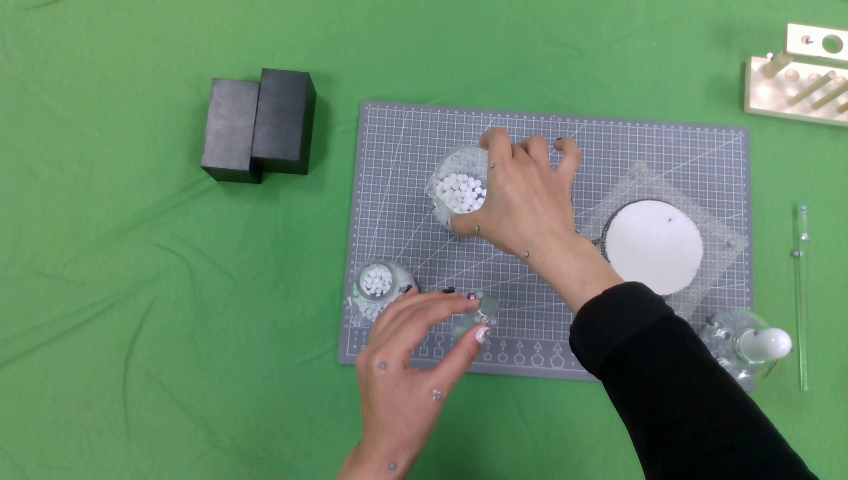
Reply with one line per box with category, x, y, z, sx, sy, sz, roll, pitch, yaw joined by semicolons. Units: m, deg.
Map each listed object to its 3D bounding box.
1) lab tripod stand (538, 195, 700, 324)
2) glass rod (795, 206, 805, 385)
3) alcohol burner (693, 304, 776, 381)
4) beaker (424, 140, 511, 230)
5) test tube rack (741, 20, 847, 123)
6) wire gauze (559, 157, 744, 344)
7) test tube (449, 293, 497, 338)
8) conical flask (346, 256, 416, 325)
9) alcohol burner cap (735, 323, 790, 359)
lab tripod stand;0.199;0.015;0.607;0.148;0.132;0.148;0;81;0
glass rod;0.416;0.060;0.671;0.008;0.008;0.199;6;83;-1
alcohol burner;0.320;0.101;0.605;0.078;0.119;0.077;0;79;2
beaker;0.040;-0.051;0.622;0.084;0.100;0.073;-11;82;-4
test tube rack;0.497;-0.178;0.675;0.242;0.085;0.066;8;80;0
wire gauze;0.202;0.006;0.540;0.125;0.011;0.121;41;83;6
test tube;0.037;0.064;0.494;0.017;0.151;0.017;1;74;-5
conical flask;-0.045;0.044;0.601;0.075;0.122;0.075;0;80;-1
alcohol burner cap;0.321;0.093;0.570;0.034;0.048;0.033;1;74;-4
